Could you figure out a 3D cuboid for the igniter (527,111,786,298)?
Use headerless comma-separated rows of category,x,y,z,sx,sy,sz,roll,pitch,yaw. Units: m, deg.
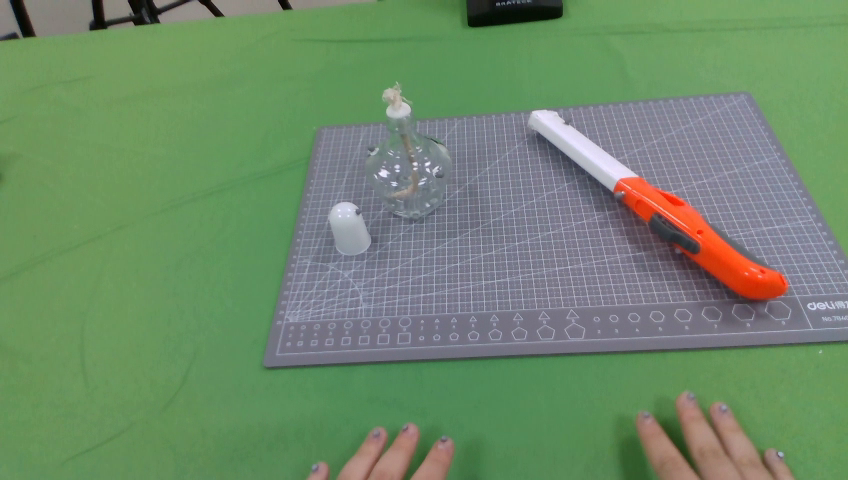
igniter,0.181,-0.042,0.516,0.057,0.025,0.273,-8,40,-30

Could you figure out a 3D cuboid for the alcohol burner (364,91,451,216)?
alcohol burner,-0.016,-0.078,0.524,0.078,0.120,0.077,-3,48,4

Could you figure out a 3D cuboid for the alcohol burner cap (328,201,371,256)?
alcohol burner cap,-0.065,-0.013,0.521,0.034,0.048,0.033,-4,48,5
